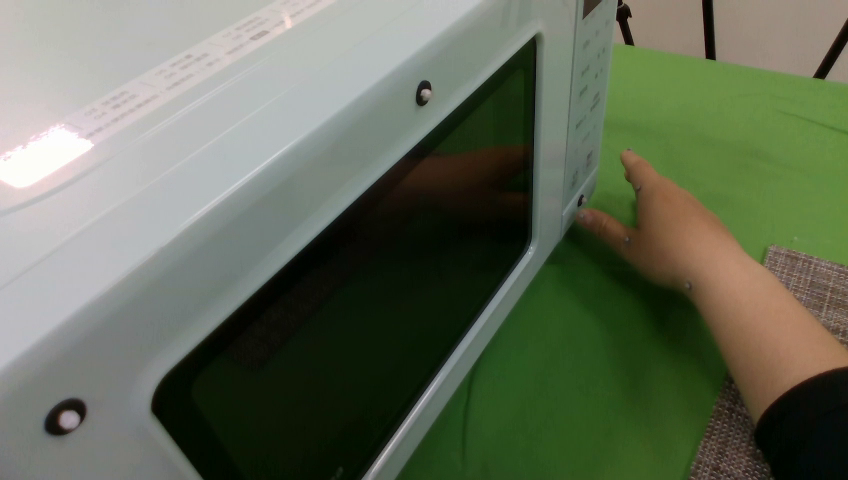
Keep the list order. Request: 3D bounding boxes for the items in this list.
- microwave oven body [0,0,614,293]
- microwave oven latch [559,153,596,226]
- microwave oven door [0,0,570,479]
[{"bbox_3d":[-0.111,-0.053,0.414,0.323,0.263,0.440,21,51,27],"label":"microwave oven body"},{"bbox_3d":[0.120,-0.046,0.515,0.030,0.030,0.079,22,51,27],"label":"microwave oven latch"},{"bbox_3d":[-0.013,0.014,0.321,0.039,0.246,0.354,20,50,27],"label":"microwave oven door"}]
